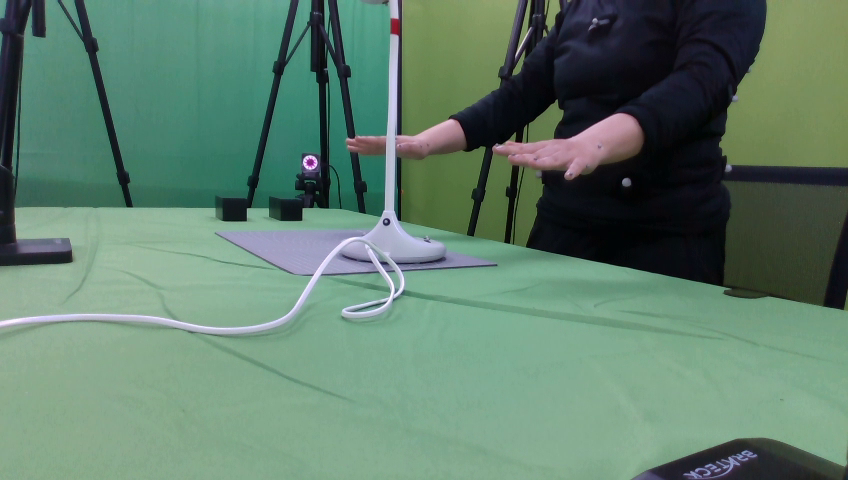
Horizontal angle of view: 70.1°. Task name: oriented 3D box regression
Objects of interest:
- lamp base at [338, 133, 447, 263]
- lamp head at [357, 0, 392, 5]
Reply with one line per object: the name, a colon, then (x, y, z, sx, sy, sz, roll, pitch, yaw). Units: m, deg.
lamp base: (-0.043, -0.062, 0.868, 0.161, 0.180, 0.179, 2, 10, -3)
lamp head: (-0.056, -0.383, 0.819, 0.113, 0.112, 0.122, 0, 13, -22)
